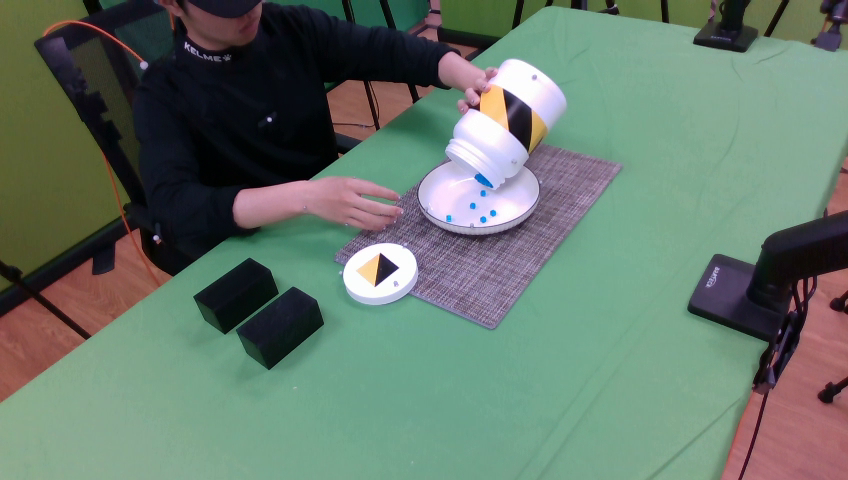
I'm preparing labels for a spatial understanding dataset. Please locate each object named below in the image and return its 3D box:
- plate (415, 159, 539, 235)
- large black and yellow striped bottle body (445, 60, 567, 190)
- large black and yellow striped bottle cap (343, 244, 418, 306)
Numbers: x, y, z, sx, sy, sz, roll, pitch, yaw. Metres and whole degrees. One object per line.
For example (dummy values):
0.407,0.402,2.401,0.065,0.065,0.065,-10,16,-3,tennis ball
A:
0.090,-0.074,1.025,0.207,0.039,0.206,-4,41,4,plate
0.131,-0.187,1.000,0.129,0.132,0.184,37,90,40,large black and yellow striped bottle body
-0.066,0.051,0.918,0.115,0.019,0.114,-6,43,6,large black and yellow striped bottle cap
